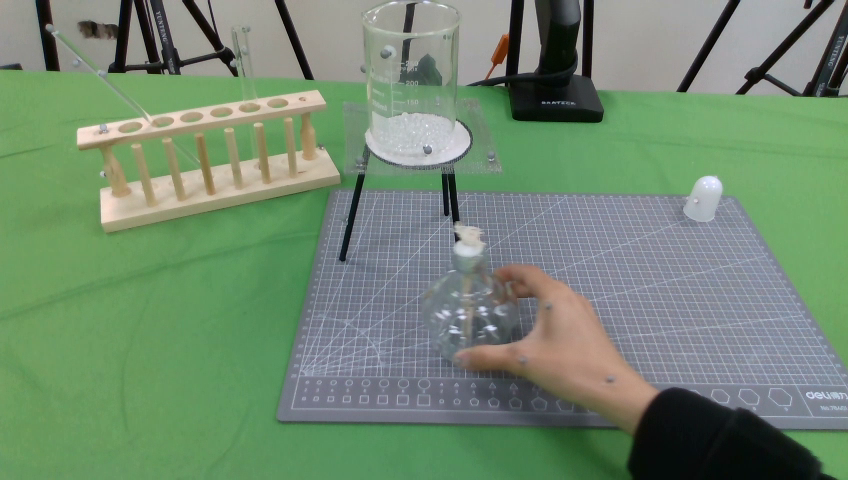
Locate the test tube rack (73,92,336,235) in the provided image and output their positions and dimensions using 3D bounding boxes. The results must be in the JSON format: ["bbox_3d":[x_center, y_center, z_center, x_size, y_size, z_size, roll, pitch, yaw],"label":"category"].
[{"bbox_3d":[-0.222,-0.085,0.638,0.243,0.086,0.066,-14,42,-19],"label":"test tube rack"}]

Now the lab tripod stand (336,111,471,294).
[{"bbox_3d":[-0.011,-0.036,0.544,0.148,0.132,0.147,0,41,0],"label":"lab tripod stand"}]

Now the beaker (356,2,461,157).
[{"bbox_3d":[-0.015,-0.123,0.469,0.083,0.101,0.074,21,43,24],"label":"beaker"}]

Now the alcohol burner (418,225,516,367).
[{"bbox_3d":[0.033,0.040,0.467,0.078,0.120,0.077,-2,37,2],"label":"alcohol burner"}]

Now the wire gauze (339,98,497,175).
[{"bbox_3d":[-0.010,-0.086,0.502,0.125,0.011,0.120,-5,38,-3],"label":"wire gauze"}]

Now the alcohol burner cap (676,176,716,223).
[{"bbox_3d":[0.288,-0.045,0.638,0.034,0.048,0.033,1,40,-1],"label":"alcohol burner cap"}]

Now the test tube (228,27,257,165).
[{"bbox_3d":[-0.187,-0.145,0.635,0.017,0.151,0.017,2,37,-1],"label":"test tube"}]

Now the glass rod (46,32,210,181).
[{"bbox_3d":[-0.280,-0.121,0.591,0.008,0.202,0.008,-18,47,20],"label":"glass rod"}]
